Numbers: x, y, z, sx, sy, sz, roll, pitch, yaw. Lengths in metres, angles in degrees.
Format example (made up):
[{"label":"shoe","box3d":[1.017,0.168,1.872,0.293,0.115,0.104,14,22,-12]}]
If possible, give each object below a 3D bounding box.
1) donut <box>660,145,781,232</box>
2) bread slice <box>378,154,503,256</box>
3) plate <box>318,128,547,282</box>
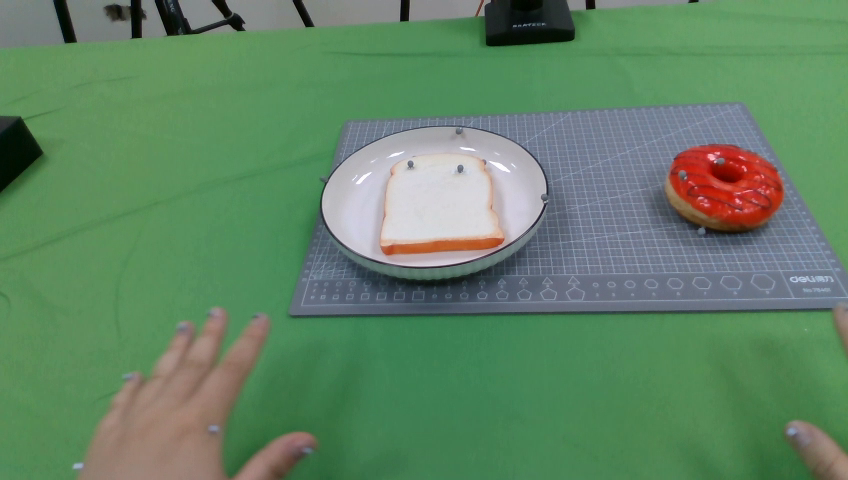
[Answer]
[{"label":"donut","box3d":[0.262,-0.045,0.537,0.099,0.049,0.098,-2,44,2]},{"label":"bread slice","box3d":[0.011,-0.035,0.565,0.107,0.018,0.133,-5,43,-1]},{"label":"plate","box3d":[0.008,-0.033,0.561,0.209,0.038,0.207,-3,43,3]}]
